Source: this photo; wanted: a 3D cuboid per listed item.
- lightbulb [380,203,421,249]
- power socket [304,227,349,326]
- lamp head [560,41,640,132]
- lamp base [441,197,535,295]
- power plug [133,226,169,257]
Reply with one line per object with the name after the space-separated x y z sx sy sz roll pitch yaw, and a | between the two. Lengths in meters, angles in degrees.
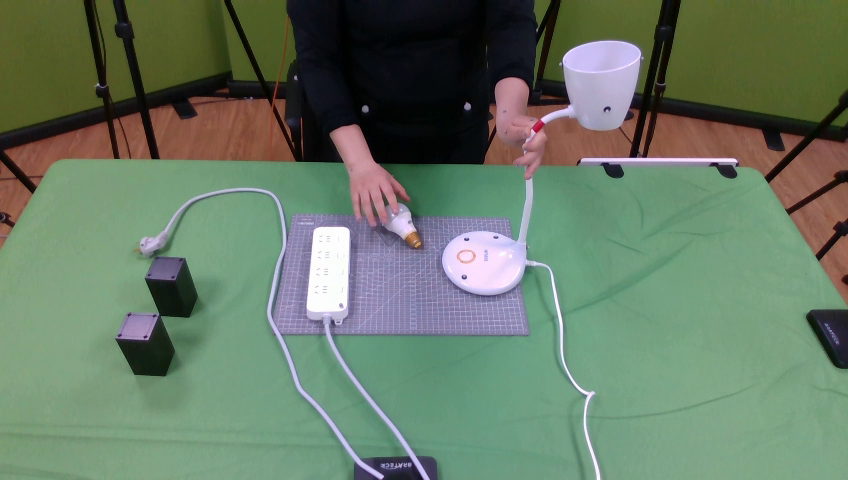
-0.043 -0.026 1.198 0.059 0.060 0.107 -28 69 -28 | lightbulb
-0.177 0.058 1.115 0.072 0.033 0.225 -1 46 -4 | power socket
0.265 -0.227 0.926 0.112 0.123 0.112 -4 38 3 | lamp head
0.129 -0.012 1.105 0.179 0.181 0.159 -1 46 -9 | lamp base
-0.516 0.005 1.152 0.052 0.035 0.072 -7 25 5 | power plug
